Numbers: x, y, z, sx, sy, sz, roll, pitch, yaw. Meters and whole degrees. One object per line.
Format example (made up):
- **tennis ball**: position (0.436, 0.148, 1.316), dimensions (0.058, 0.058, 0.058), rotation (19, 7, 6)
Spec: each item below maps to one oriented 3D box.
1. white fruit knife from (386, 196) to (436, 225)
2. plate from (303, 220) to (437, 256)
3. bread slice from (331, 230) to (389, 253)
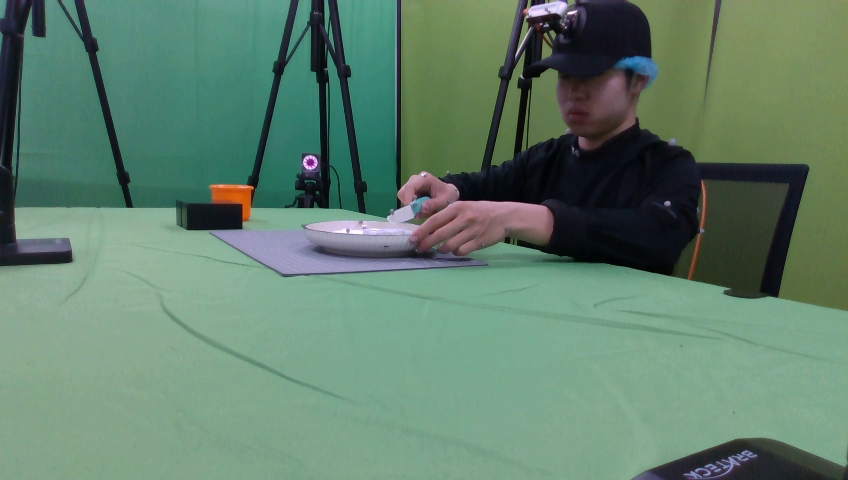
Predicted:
- **white fruit knife**: position (-0.019, -0.048, 0.961), dimensions (0.016, 0.027, 0.208), rotation (-7, 9, 20)
- **plate**: position (-0.084, -0.003, 0.951), dimensions (0.209, 0.038, 0.209), rotation (3, 7, 0)
- **bread slice**: position (-0.088, 0.000, 0.947), dimensions (0.105, 0.019, 0.131), rotation (-4, 11, -44)
